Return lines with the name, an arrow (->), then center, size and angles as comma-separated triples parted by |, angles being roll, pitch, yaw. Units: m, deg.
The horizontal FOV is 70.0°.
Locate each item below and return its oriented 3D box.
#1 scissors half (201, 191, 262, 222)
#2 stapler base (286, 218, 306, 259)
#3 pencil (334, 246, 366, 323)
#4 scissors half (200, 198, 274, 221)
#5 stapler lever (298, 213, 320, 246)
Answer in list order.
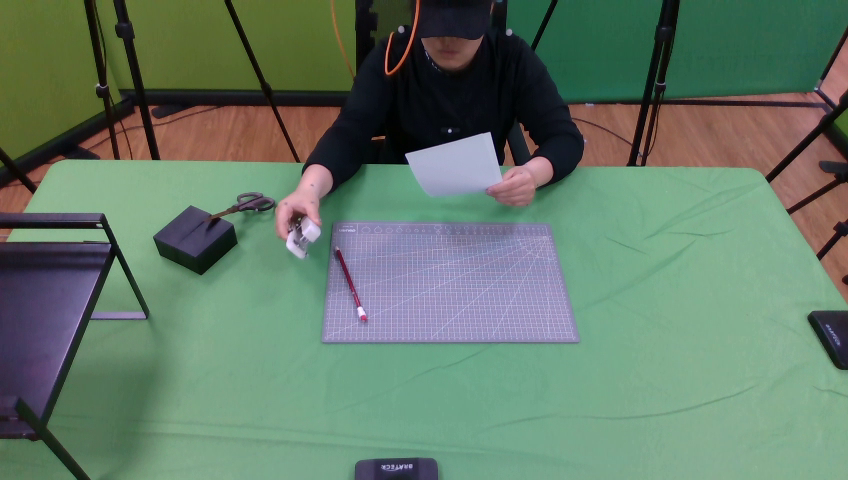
scissors half -> -0.381, -0.066, 1.198 | 0.040, 0.013, 0.175 | 25, 28, 9
stapler base -> -0.228, -0.009, 1.115 | 0.024, 0.041, 0.130 | -39, 24, 7
pencil -> -0.140, 0.077, 1.116 | 0.012, 0.012, 0.192 | -14, 48, -17
scissors half -> -0.365, -0.055, 1.192 | 0.040, 0.013, 0.175 | 40, 32, 22
stapler lever -> -0.211, -0.025, 1.112 | 0.040, 0.027, 0.117 | -38, 24, 8
